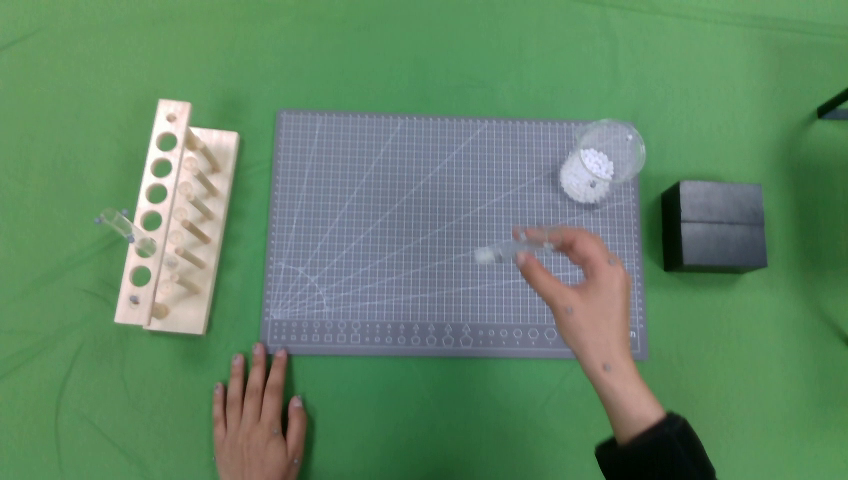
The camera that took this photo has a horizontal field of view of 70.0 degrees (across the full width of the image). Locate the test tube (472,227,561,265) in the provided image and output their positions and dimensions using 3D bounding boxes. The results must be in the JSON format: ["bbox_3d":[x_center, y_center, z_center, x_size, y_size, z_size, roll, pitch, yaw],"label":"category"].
[{"bbox_3d":[0.078,0.008,0.546,0.017,0.150,0.017,3,81,-19],"label":"test tube"}]

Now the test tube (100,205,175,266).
[{"bbox_3d":[-0.286,-0.001,0.615,0.017,0.151,0.017,1,71,-1],"label":"test tube"}]

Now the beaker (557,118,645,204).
[{"bbox_3d":[0.198,-0.089,0.705,0.084,0.100,0.074,33,77,5],"label":"beaker"}]

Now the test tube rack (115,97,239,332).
[{"bbox_3d":[-0.267,-0.025,0.671,0.067,0.085,0.241,6,78,-2],"label":"test tube rack"}]
